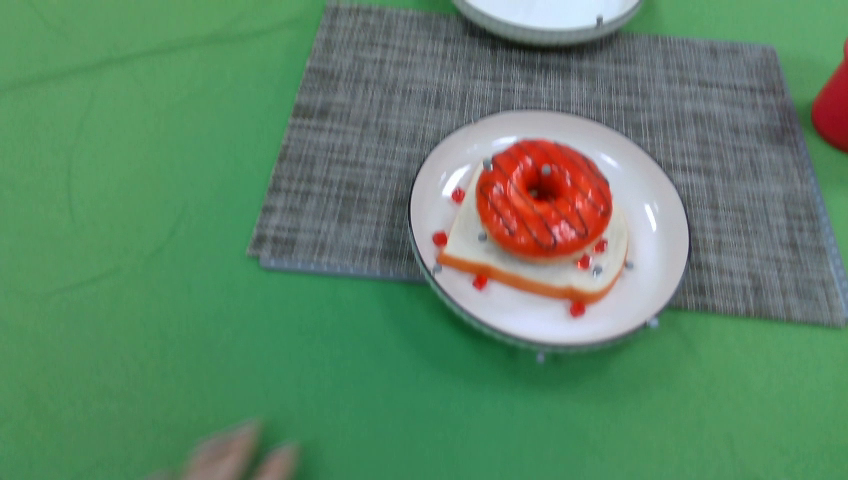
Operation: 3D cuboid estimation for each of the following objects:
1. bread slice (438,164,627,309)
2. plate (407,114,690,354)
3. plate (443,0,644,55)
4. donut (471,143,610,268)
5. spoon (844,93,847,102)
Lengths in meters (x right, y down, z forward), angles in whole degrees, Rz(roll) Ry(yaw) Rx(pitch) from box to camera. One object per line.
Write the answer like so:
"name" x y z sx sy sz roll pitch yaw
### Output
"bread slice" 0.088 -0.005 0.461 0.131 0.019 0.104 16 59 10
"plate" 0.090 -0.008 0.460 0.209 0.038 0.207 1 58 -1
"plate" 0.117 -0.255 0.620 0.208 0.039 0.205 2 56 -2
"donut" 0.082 -0.025 0.430 0.099 0.048 0.098 1 58 -1
"spoon" 0.380 -0.110 0.478 0.041 0.022 0.194 24 16 12
